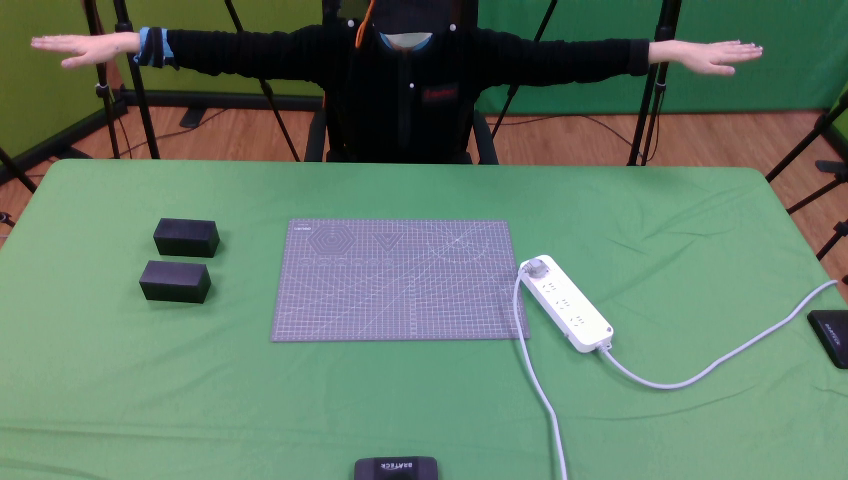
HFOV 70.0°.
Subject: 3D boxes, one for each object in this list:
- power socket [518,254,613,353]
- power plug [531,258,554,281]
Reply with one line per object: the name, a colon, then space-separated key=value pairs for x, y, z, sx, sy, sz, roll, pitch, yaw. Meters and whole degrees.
power socket: x=0.252 y=0.111 z=1.099 sx=0.072 sy=0.033 sz=0.225 roll=-19 pitch=50 yaw=-19
power plug: x=0.231 y=0.059 z=1.116 sx=0.073 sy=0.035 sz=0.052 roll=24 pitch=39 yaw=-11
